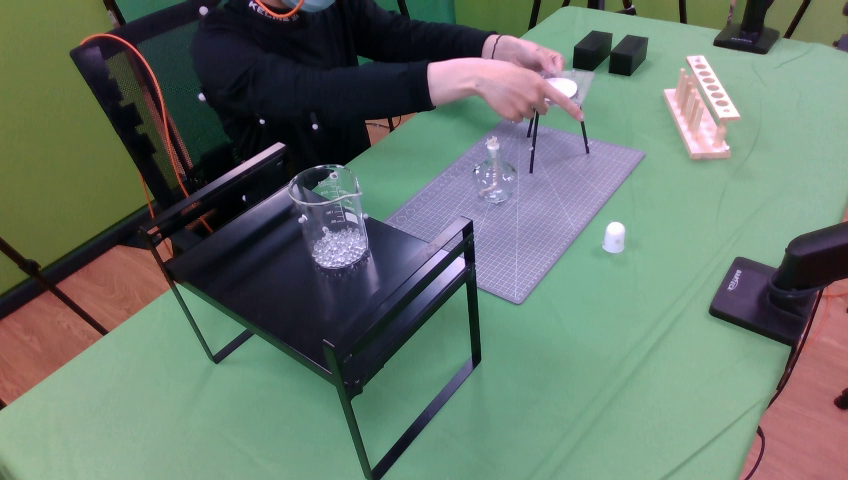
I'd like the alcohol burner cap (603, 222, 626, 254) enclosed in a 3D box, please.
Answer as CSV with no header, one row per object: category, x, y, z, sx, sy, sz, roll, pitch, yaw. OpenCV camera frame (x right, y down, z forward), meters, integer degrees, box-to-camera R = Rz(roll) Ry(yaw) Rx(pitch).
alcohol burner cap,0.291,-0.006,0.921,0.034,0.048,0.033,-4,40,4

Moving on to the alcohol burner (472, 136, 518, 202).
alcohol burner,0.121,-0.124,1.023,0.078,0.119,0.077,-3,42,3

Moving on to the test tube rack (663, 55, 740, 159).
test tube rack,0.518,-0.256,1.144,0.066,0.085,0.241,-1,41,8

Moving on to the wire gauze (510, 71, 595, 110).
wire gauze,0.224,-0.267,1.053,0.124,0.011,0.121,12,44,23

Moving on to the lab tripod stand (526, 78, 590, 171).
lab tripod stand,0.228,-0.216,1.097,0.148,0.132,0.147,-6,40,5

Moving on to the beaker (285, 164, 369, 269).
beaker,-0.101,-0.024,0.676,0.083,0.101,0.074,8,43,17
